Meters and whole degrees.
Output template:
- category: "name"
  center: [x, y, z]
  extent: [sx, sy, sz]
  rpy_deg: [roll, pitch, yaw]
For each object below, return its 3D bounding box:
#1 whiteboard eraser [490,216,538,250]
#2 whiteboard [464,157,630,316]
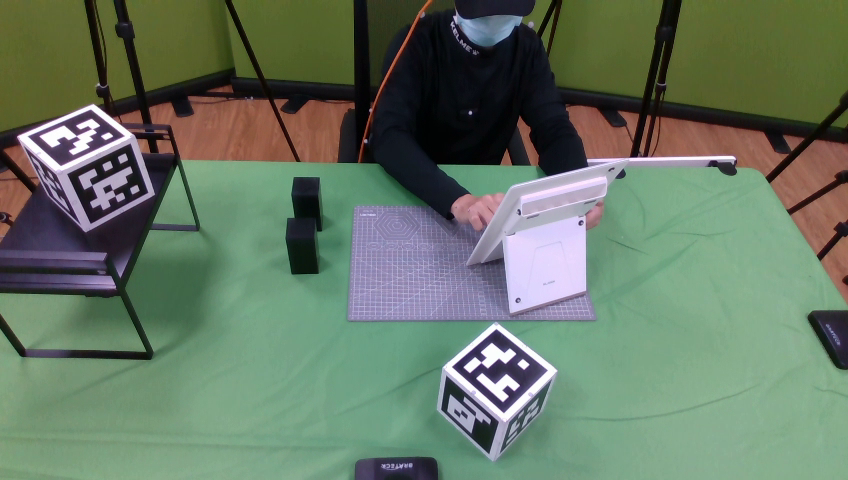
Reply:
- category: "whiteboard eraser"
  center: [0.167, -0.014, 1.125]
  extent: [0.041, 0.101, 0.018]
  rpy_deg: [14, 49, -50]
- category: "whiteboard"
  center: [0.224, 0.015, 1.042]
  extent: [0.217, 0.306, 0.143]
  rpy_deg: [-13, 68, -17]
